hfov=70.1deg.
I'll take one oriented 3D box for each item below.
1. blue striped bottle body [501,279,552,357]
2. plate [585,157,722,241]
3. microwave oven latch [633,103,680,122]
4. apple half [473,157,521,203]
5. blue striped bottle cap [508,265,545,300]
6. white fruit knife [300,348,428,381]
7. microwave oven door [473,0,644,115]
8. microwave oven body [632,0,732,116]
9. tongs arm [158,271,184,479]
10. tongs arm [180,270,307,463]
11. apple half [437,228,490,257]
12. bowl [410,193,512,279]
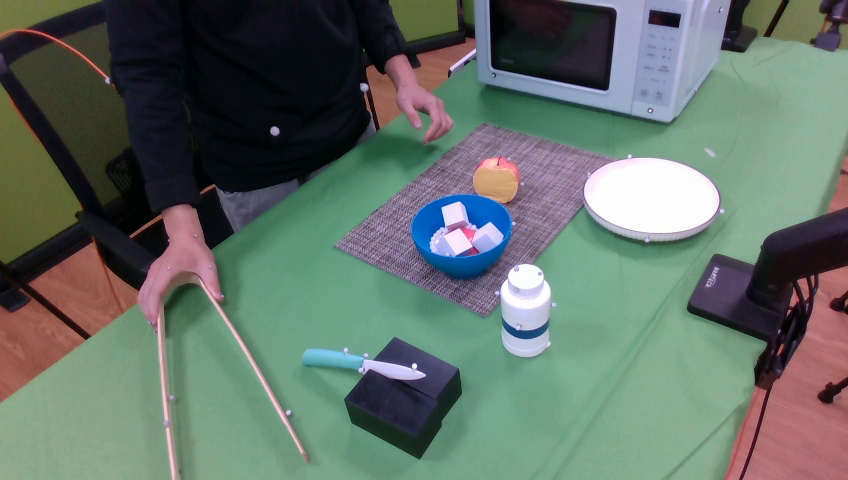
[{"bbox_3d":[0.129,0.089,0.769,0.063,0.121,0.063,-4,41,4],"label":"blue striped bottle body"},{"bbox_3d":[0.367,-0.063,0.979,0.207,0.039,0.206,-4,40,4],"label":"plate"},{"bbox_3d":[0.443,-0.249,1.157,0.078,0.029,0.030,20,48,30],"label":"microwave oven latch"},{"bbox_3d":[0.128,-0.106,1.030,0.080,0.075,0.053,4,38,19],"label":"apple half"},{"bbox_3d":[0.124,0.051,0.735,0.044,0.021,0.044,-4,36,3],"label":"blue striped bottle cap"},{"bbox_3d":[-0.079,0.154,0.748,0.206,0.027,0.016,1,20,34],"label":"white fruit knife"},{"bbox_3d":[0.257,-0.396,1.199,0.353,0.245,0.039,21,48,29],"label":"microwave oven door"},{"bbox_3d":[0.377,-0.463,1.267,0.438,0.261,0.327,21,49,30],"label":"microwave oven body"},{"bbox_3d":[-0.317,0.177,0.786,0.051,0.026,0.381,-20,44,-14],"label":"tongs arm"},{"bbox_3d":[-0.249,0.151,0.810,0.028,0.028,0.384,-31,48,-20],"label":"tongs arm"},{"bbox_3d":[0.055,0.002,0.901,0.081,0.033,0.081,-2,40,2],"label":"apple half"},{"bbox_3d":[0.058,0.005,0.905,0.151,0.077,0.150,-4,40,4],"label":"bowl"}]
